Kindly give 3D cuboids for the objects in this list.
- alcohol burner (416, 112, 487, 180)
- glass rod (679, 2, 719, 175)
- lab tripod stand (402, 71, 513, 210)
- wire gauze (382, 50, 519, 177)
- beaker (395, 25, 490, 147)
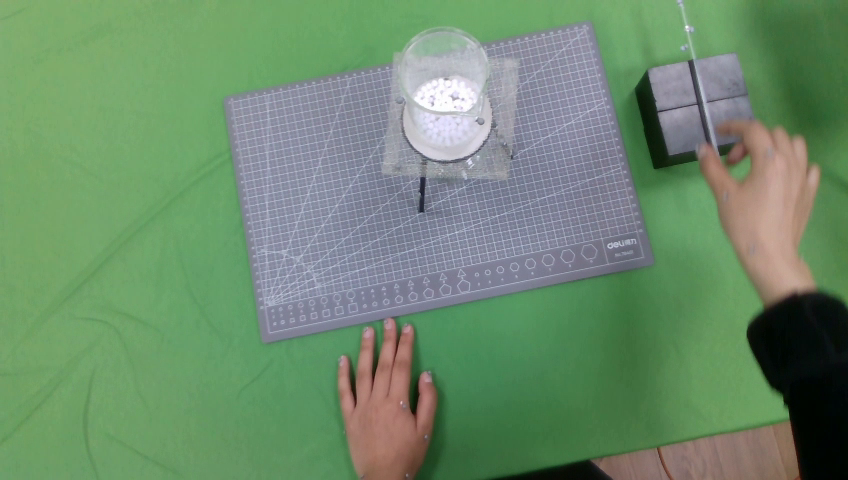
[{"bbox_3d":[0.029,-0.106,0.651,0.078,0.119,0.077,-1,82,5],"label":"alcohol burner"},{"bbox_3d":[0.298,-0.166,0.656,0.008,0.008,0.199,-8,81,2],"label":"glass rod"},{"bbox_3d":[0.024,-0.111,0.642,0.148,0.132,0.148,-1,81,5],"label":"lab tripod stand"},{"bbox_3d":[0.026,-0.121,0.577,0.121,0.011,0.124,5,79,3],"label":"wire gauze"},{"bbox_3d":[0.021,-0.127,0.529,0.074,0.100,0.083,-39,81,-3],"label":"beaker"}]
